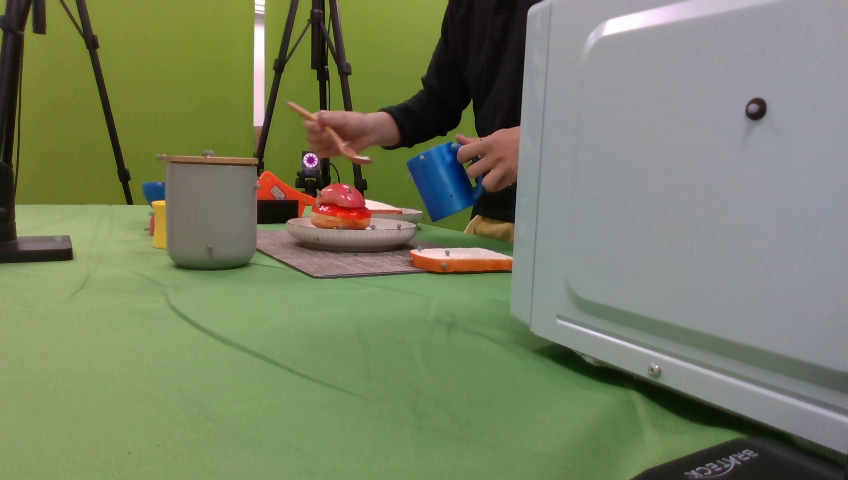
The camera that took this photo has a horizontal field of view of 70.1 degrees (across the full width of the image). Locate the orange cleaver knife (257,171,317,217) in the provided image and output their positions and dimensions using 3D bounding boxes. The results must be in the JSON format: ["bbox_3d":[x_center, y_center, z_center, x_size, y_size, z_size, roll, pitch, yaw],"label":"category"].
[{"bbox_3d":[-0.283,-0.087,1.343,0.212,0.077,0.012,24,-16,-41],"label":"orange cleaver knife"}]

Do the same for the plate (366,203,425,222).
[{"bbox_3d":[-0.102,-0.053,1.299,0.209,0.038,0.209,2,8,0],"label":"plate"}]

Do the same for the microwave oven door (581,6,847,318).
[{"bbox_3d":[0.295,-0.067,0.569,0.358,0.243,0.039,-3,8,-31],"label":"microwave oven door"}]

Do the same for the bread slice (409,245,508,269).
[{"bbox_3d":[0.048,0.021,0.816,0.132,0.019,0.104,0,7,-24],"label":"bread slice"}]

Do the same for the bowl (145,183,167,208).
[{"bbox_3d":[-0.459,-0.069,1.175,0.151,0.077,0.151,3,7,0],"label":"bowl"}]

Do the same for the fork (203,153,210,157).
[{"bbox_3d":[-0.480,-0.135,1.411,0.028,0.018,0.207,0,-34,-1],"label":"fork"}]

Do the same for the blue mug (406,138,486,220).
[{"bbox_3d":[0.043,-0.102,0.945,0.116,0.106,0.082,-24,1,31],"label":"blue mug"}]

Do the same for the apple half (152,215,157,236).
[{"bbox_3d":[-0.415,-0.034,1.017,0.081,0.053,0.074,1,10,-9],"label":"apple half"}]

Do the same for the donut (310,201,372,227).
[{"bbox_3d":[-0.132,-0.042,0.959,0.099,0.048,0.099,2,8,0],"label":"donut"}]

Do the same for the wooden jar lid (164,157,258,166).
[{"bbox_3d":[-0.261,-0.093,0.746,0.108,0.020,0.108,0,9,0],"label":"wooden jar lid"}]

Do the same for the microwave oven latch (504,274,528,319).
[{"bbox_3d":[0.100,0.041,0.470,0.079,0.029,0.030,-1,7,-27],"label":"microwave oven latch"}]

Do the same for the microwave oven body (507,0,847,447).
[{"bbox_3d":[0.331,-0.042,0.425,0.444,0.260,0.324,-2,8,-31],"label":"microwave oven body"}]

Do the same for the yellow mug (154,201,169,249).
[{"bbox_3d":[-0.337,-0.022,0.899,0.130,0.064,0.100,8,9,34],"label":"yellow mug"}]

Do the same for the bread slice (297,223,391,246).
[{"bbox_3d":[-0.121,-0.011,0.971,0.106,0.018,0.135,9,13,42],"label":"bread slice"}]

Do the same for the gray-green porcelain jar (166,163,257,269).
[{"bbox_3d":[-0.263,-0.031,0.754,0.106,0.126,0.106,2,7,0],"label":"gray-green porcelain jar"}]

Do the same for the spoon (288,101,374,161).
[{"bbox_3d":[-0.153,-0.178,0.975,0.193,0.021,0.042,41,23,21],"label":"spoon"}]

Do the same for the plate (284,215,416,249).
[{"bbox_3d":[-0.116,-0.014,0.967,0.208,0.039,0.207,2,7,0],"label":"plate"}]

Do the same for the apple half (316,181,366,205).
[{"bbox_3d":[-0.128,-0.077,0.954,0.081,0.033,0.081,6,13,-1],"label":"apple half"}]
